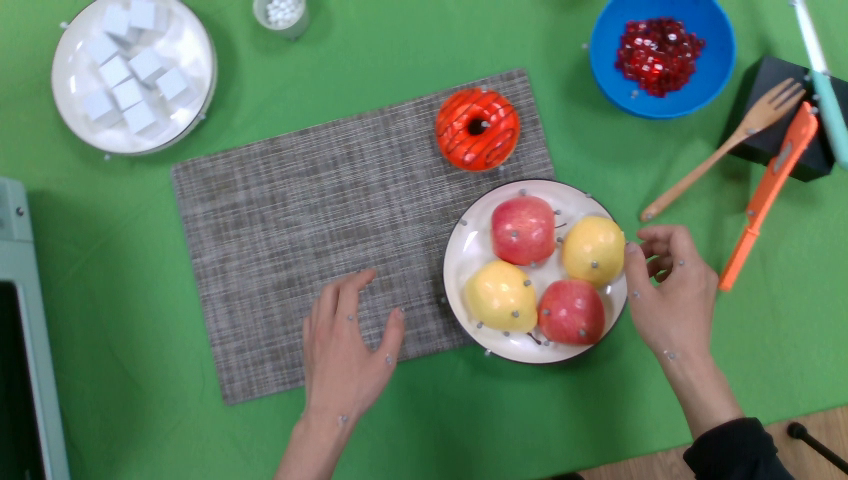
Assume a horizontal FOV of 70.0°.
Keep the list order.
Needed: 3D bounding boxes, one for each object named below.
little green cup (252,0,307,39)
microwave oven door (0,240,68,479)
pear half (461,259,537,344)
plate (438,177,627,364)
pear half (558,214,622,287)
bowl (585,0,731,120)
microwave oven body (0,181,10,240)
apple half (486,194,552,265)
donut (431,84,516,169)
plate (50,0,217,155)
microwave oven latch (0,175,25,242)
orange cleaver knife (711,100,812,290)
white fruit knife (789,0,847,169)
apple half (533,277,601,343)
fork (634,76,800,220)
[{"bbox_3d":[-0.172,-0.276,0.735,0.061,0.039,0.061,0,86,6],"label":"little green cup"},{"bbox_3d":[-0.473,0.170,0.612,0.039,0.244,0.355,-12,85,4],"label":"microwave oven door"},{"bbox_3d":[0.092,0.074,0.672,0.076,0.056,0.110,-42,88,6],"label":"pear half"},{"bbox_3d":[0.121,0.034,0.686,0.209,0.038,0.208,0,86,5],"label":"plate"},{"bbox_3d":[0.177,0.015,0.668,0.070,0.031,0.088,18,101,33],"label":"pear half"},{"bbox_3d":[0.249,-0.200,0.674,0.151,0.077,0.151,0,87,5],"label":"bowl"},{"bbox_3d":[-0.623,0.159,0.630,0.326,0.260,0.440,-12,86,4],"label":"microwave oven body"},{"bbox_3d":[0.106,-0.013,0.673,0.074,0.053,0.081,3,90,6],"label":"apple half"},{"bbox_3d":[0.056,-0.130,0.699,0.099,0.048,0.099,0,87,8],"label":"donut"},{"bbox_3d":[-0.351,-0.204,0.746,0.207,0.039,0.207,0,86,5],"label":"plate"},{"bbox_3d":[-0.506,-0.037,0.729,0.030,0.029,0.079,-10,86,4],"label":"microwave oven latch"},{"bbox_3d":[0.359,-0.046,0.652,0.012,0.077,0.212,22,114,11],"label":"orange cleaver knife"},{"bbox_3d":[0.415,-0.173,0.639,0.027,0.016,0.206,-10,83,-25],"label":"white fruit knife"},{"bbox_3d":[0.151,0.077,0.662,0.081,0.033,0.081,-1,88,30],"label":"apple half"},{"bbox_3d":[0.310,-0.093,0.657,0.028,0.018,0.207,44,111,-1],"label":"fork"}]
